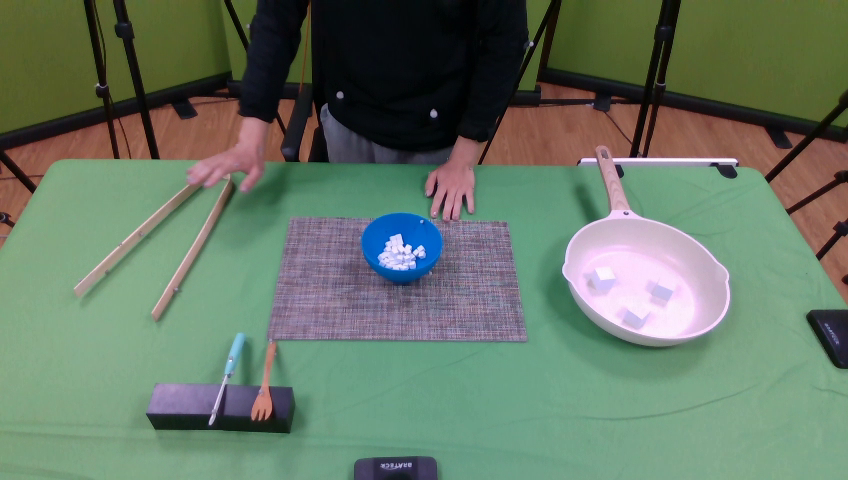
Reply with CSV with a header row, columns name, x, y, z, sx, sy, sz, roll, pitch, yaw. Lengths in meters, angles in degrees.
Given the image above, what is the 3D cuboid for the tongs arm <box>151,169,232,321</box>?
name,x,y,z,sx,sy,sz,roll,pitch,yaw
tongs arm,-0.437,-0.004,1.163,0.028,0.028,0.385,6,46,5

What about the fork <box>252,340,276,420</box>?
name,x,y,z,sx,sy,sz,roll,pitch,yaw
fork,-0.242,0.211,0.932,0.028,0.019,0.206,-7,27,-5

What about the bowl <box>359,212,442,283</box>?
name,x,y,z,sx,sy,sz,roll,pitch,yaw
bowl,-0.044,0.026,1.125,0.151,0.077,0.150,2,46,-2

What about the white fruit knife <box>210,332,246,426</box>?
name,x,y,z,sx,sy,sz,roll,pitch,yaw
white fruit knife,-0.301,0.206,0.930,0.016,0.027,0.206,5,29,-7

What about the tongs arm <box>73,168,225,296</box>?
name,x,y,z,sx,sy,sz,roll,pitch,yaw
tongs arm,-0.515,-0.026,1.172,0.050,0.026,0.383,18,46,11

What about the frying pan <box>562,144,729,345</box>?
name,x,y,z,sx,sy,sz,roll,pitch,yaw
frying pan,0.396,-0.008,1.179,0.307,0.103,0.484,1,55,-4
